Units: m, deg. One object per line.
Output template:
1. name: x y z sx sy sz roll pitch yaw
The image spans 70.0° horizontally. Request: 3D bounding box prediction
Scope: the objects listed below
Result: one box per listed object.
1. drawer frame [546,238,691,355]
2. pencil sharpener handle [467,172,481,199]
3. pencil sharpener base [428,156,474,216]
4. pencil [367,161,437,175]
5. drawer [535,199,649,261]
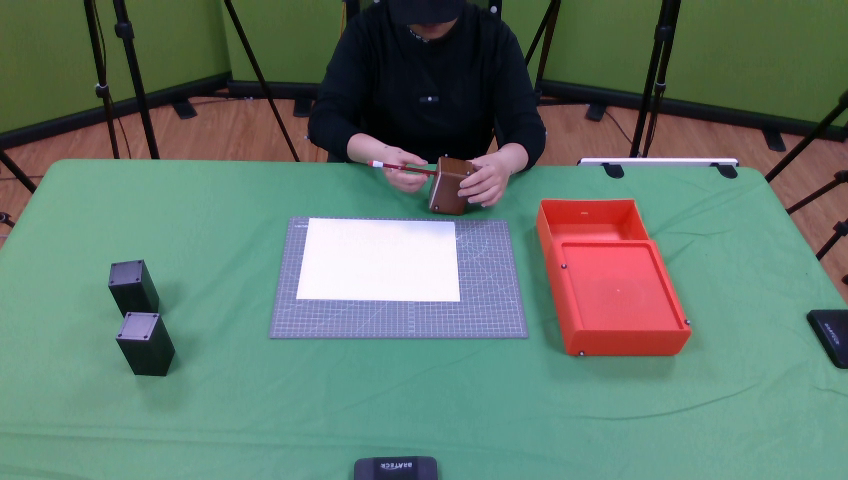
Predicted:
1. drawer frame: 0.338 0.097 1.086 0.202 0.083 0.212 0 46 -4
2. pencil sharpener handle: 0.108 -0.110 1.245 0.031 0.068 0.036 9 50 -9
3. pencil sharpener base: 0.055 -0.108 1.244 0.077 0.107 0.061 9 44 -9
4. pencil: -0.018 -0.140 1.213 0.194 0.012 0.012 8 45 -8
5. drawer: 0.332 0.015 1.169 0.195 0.073 0.210 0 46 -5
